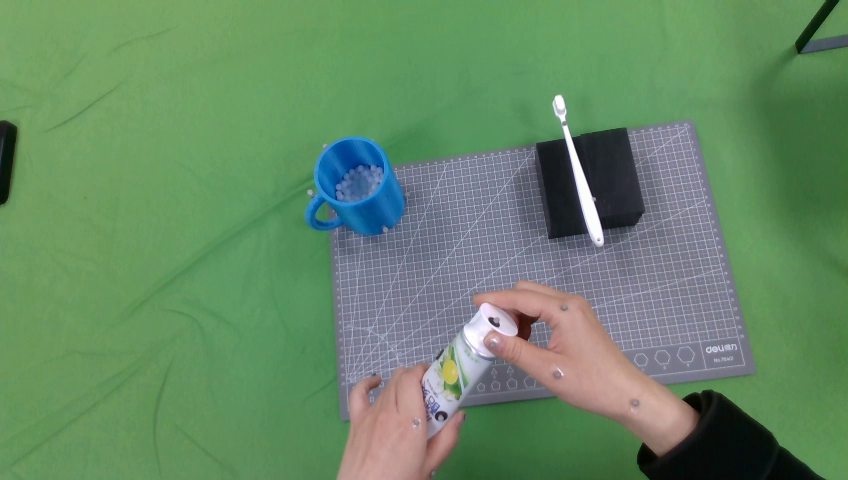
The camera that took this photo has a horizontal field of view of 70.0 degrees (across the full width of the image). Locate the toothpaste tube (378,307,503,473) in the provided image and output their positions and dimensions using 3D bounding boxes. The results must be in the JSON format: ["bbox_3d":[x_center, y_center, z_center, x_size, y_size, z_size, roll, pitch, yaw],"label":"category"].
[{"bbox_3d":[0.012,0.117,0.493,0.165,0.035,0.054,-57,47,23],"label":"toothpaste tube"}]

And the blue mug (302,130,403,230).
[{"bbox_3d":[-0.086,-0.056,0.692,0.116,0.106,0.082,-35,73,-3],"label":"blue mug"}]

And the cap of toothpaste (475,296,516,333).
[{"bbox_3d":[0.053,0.058,0.460,0.037,0.037,0.011,41,115,16],"label":"cap of toothpaste"}]

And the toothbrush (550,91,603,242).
[{"bbox_3d":[0.167,-0.083,0.663,0.014,0.017,0.180,-11,74,-1],"label":"toothbrush"}]
